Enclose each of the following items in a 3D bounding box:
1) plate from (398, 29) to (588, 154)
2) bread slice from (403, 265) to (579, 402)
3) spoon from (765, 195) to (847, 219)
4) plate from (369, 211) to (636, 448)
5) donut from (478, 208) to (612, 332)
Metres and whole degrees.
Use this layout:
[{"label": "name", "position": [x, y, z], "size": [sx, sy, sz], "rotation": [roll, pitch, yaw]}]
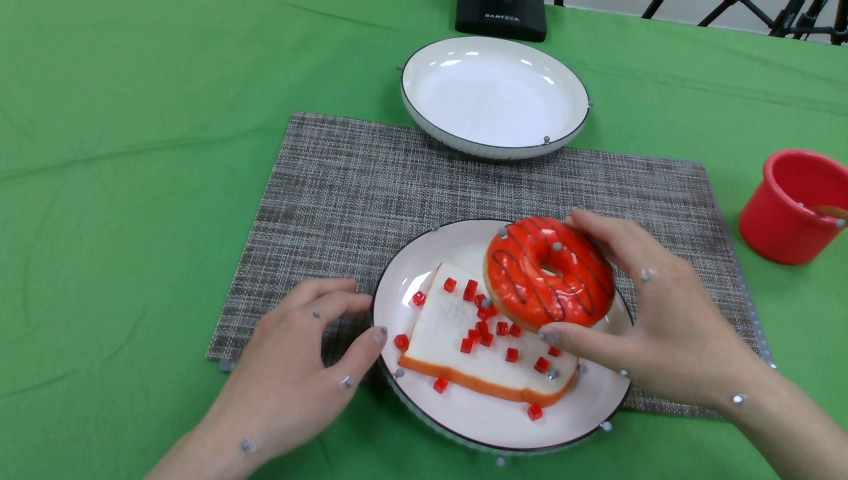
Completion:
[{"label": "plate", "position": [0.074, -0.161, 0.669], "size": [0.208, 0.039, 0.205], "rotation": [5, 49, -5]}, {"label": "bread slice", "position": [0.057, 0.072, 0.483], "size": [0.131, 0.019, 0.104], "rotation": [13, 50, 10]}, {"label": "spoon", "position": [0.347, -0.029, 0.535], "size": [0.041, 0.021, 0.194], "rotation": [23, 8, 10]}, {"label": "plate", "position": [0.060, 0.065, 0.481], "size": [0.209, 0.038, 0.207], "rotation": [4, 51, -4]}, {"label": "donut", "position": [0.087, 0.021, 0.438], "size": [0.099, 0.048, 0.098], "rotation": [8, 51, -9]}]
